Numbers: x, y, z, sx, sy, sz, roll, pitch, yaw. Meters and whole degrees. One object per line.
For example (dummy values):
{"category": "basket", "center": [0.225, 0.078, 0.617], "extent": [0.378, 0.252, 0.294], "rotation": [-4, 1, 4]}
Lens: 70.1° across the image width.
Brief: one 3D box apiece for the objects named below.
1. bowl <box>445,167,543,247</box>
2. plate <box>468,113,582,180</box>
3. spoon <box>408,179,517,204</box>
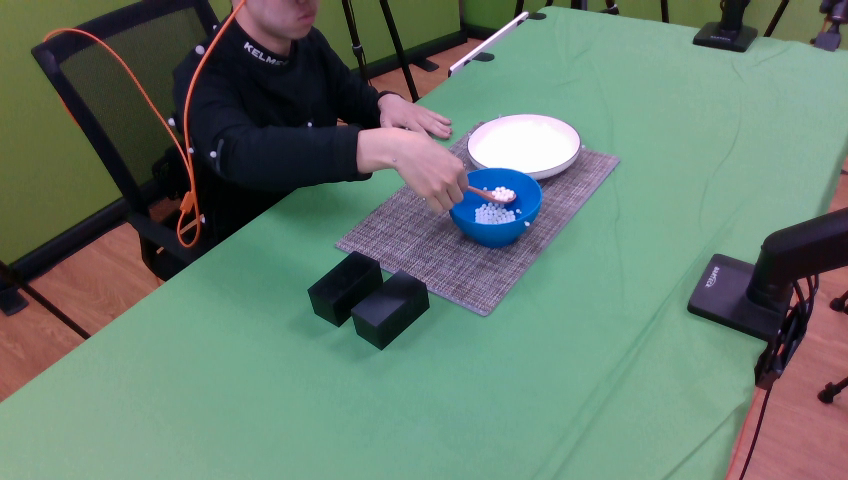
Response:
{"category": "bowl", "center": [0.111, -0.042, 0.952], "extent": [0.151, 0.077, 0.150], "rotation": [-4, 41, 4]}
{"category": "plate", "center": [0.186, -0.169, 1.122], "extent": [0.207, 0.039, 0.206], "rotation": [-4, 40, 4]}
{"category": "spoon", "center": [0.061, -0.078, 0.923], "extent": [0.195, 0.021, 0.041], "rotation": [9, 28, -32]}
